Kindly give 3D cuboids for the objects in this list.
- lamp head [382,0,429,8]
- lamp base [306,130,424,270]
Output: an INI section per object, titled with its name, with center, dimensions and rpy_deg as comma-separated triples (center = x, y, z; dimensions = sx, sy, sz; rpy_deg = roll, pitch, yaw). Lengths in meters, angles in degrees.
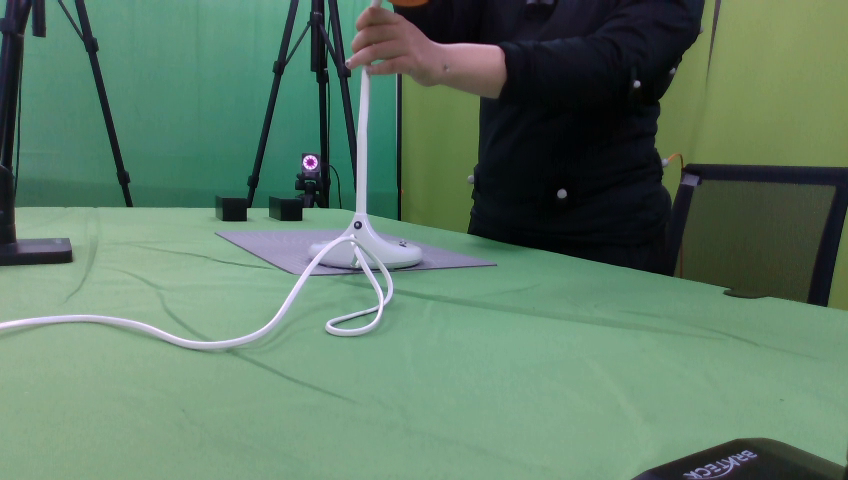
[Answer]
[lamp head]
center = -0.022, -0.324, 0.673
dimensions = 0.112, 0.123, 0.112
rpy_deg = 5, 4, 0
[lamp base]
center = -0.077, -0.057, 0.811
dimensions = 0.161, 0.180, 0.179
rpy_deg = 2, 10, -4
